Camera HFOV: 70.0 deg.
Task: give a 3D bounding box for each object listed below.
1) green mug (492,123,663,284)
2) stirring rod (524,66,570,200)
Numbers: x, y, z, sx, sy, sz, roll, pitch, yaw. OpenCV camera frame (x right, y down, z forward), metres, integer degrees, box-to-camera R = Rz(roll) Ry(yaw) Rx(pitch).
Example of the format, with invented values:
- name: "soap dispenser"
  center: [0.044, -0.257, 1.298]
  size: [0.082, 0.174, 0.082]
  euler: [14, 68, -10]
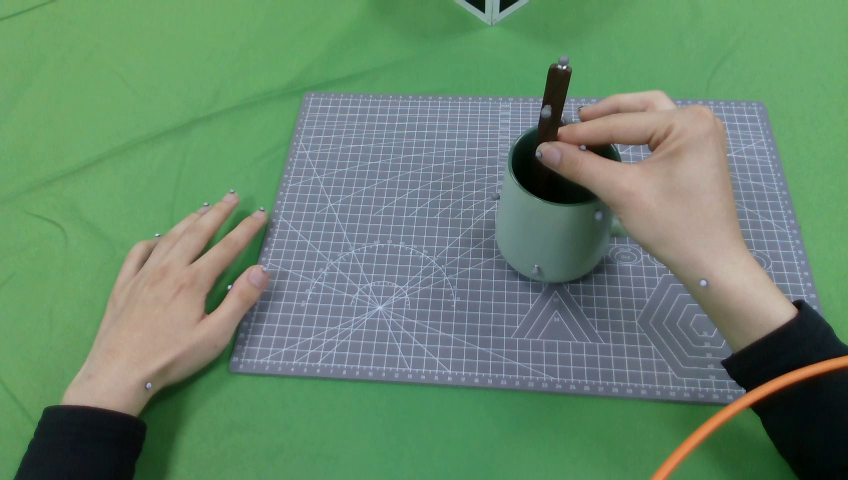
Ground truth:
- name: "green mug"
  center: [0.116, -0.025, 0.464]
  size: [0.125, 0.106, 0.092]
  euler: [4, 58, 6]
- name: "stirring rod"
  center: [0.080, -0.054, 0.420]
  size: [0.014, 0.177, 0.006]
  euler: [14, 62, 10]
